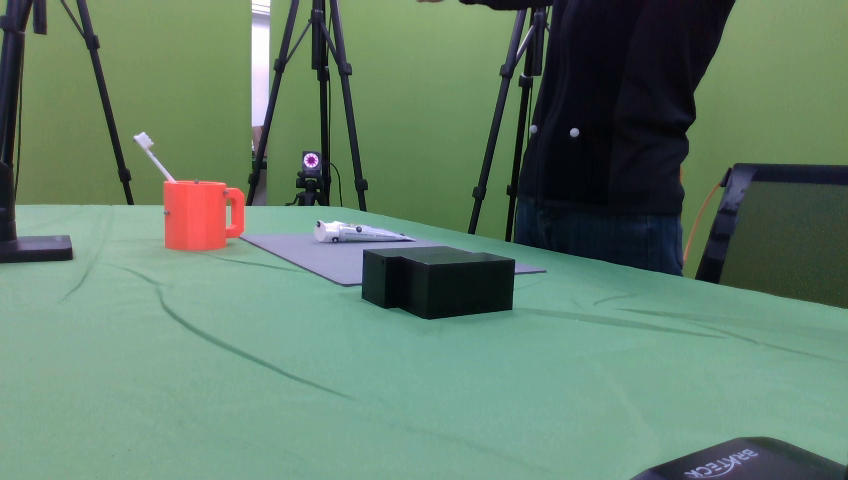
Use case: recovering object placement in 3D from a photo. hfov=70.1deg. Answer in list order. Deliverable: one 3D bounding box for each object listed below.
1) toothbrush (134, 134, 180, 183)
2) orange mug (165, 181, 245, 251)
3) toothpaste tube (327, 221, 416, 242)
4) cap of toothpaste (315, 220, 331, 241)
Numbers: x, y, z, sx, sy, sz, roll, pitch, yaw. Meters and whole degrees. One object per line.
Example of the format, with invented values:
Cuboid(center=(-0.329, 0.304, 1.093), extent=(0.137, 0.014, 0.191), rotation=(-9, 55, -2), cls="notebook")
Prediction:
Cuboid(center=(-0.348, -0.077, 0.873), extent=(0.014, 0.182, 0.017), rotation=(-15, 29, 46), cls="toothbrush")
Cuboid(center=(-0.326, -0.040, 0.911), extent=(0.083, 0.101, 0.127), rotation=(8, 14, 37), cls="orange mug")
Cuboid(center=(-0.095, -0.012, 1.026), extent=(0.166, 0.034, 0.055), rotation=(2, 13, -33), cls="toothpaste tube")
Cuboid(center=(-0.164, -0.016, 0.982), extent=(0.011, 0.037, 0.037), rotation=(-8, 12, -43), cls="cap of toothpaste")
